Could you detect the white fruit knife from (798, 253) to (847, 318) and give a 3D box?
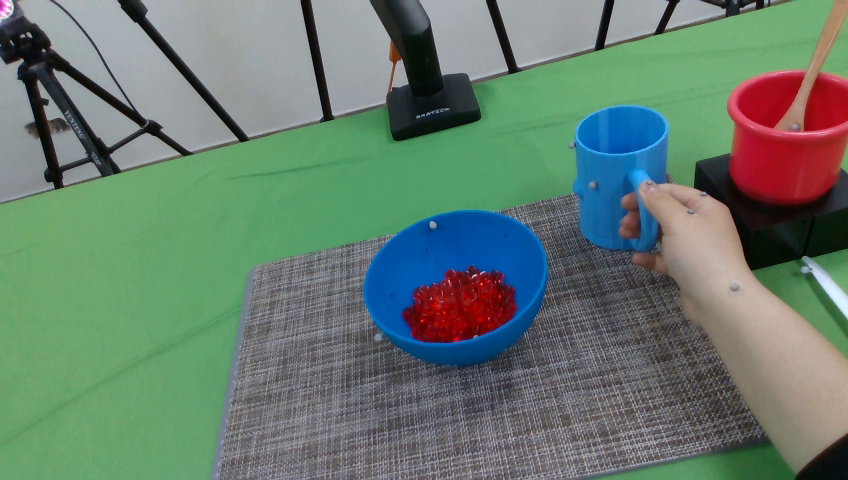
[{"bbox_3d":[0.329,0.077,0.436,0.027,0.016,0.205,7,38,-13],"label":"white fruit knife"}]

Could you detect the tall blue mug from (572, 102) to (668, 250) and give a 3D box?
[{"bbox_3d":[0.186,-0.051,0.541,0.078,0.109,0.106,-31,43,-16],"label":"tall blue mug"}]

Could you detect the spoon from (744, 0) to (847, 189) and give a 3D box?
[{"bbox_3d":[0.314,-0.132,0.492,0.041,0.022,0.194,26,101,39],"label":"spoon"}]

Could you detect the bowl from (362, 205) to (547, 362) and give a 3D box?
[{"bbox_3d":[0.031,0.049,0.508,0.151,0.077,0.150,-9,42,9],"label":"bowl"}]
